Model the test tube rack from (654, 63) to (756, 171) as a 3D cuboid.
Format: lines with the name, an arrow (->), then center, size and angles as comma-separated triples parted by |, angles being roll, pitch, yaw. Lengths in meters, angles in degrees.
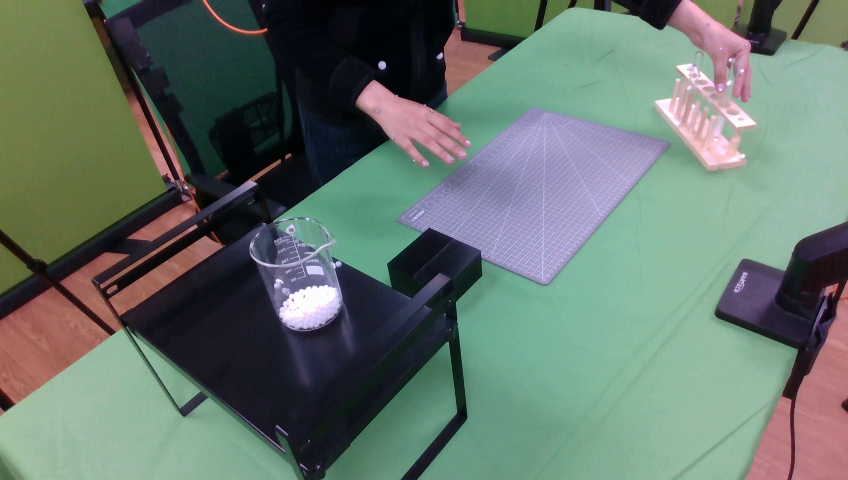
test tube rack -> 0.511, -0.233, 1.120 | 0.067, 0.085, 0.241 | -8, 41, -1

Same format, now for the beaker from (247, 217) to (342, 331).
beaker -> -0.124, 0.037, 0.614 | 0.084, 0.101, 0.073 | -7, 41, 0

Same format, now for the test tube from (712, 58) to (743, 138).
test tube -> 0.528, -0.244, 1.054 | 0.017, 0.151, 0.017 | -3, 41, 3

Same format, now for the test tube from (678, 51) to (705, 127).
test tube -> 0.486, -0.272, 1.100 | 0.017, 0.151, 0.017 | -3, 43, 3
